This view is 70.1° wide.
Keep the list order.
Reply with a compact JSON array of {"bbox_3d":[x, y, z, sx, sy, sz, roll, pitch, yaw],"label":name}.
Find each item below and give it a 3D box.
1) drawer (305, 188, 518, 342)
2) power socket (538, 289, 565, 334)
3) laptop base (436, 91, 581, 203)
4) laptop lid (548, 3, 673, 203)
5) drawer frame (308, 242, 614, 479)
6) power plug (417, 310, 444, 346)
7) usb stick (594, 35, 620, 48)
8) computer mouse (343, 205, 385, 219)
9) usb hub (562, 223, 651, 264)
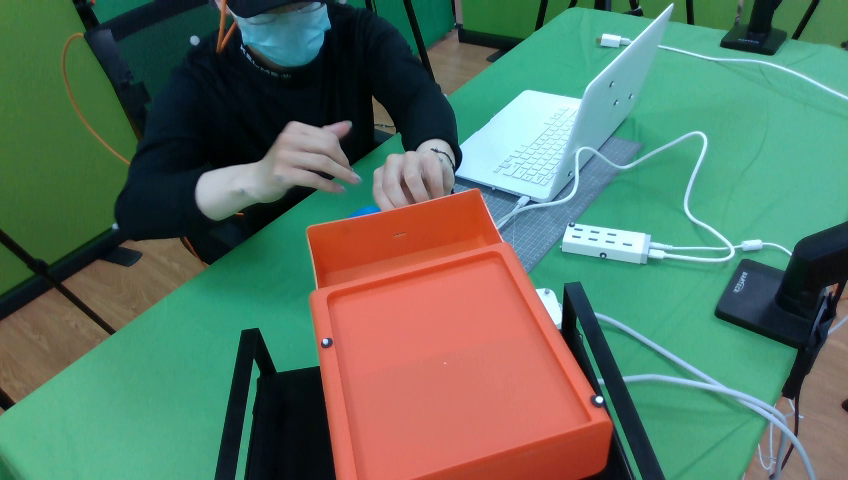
[{"bbox_3d":[-0.006,0.053,0.591,0.195,0.073,0.210,-12,41,-6],"label":"drawer"},{"bbox_3d":[0.081,0.111,0.822,0.227,0.033,0.072,-6,41,0],"label":"power socket"},{"bbox_3d":[0.215,-0.193,1.172,0.233,0.023,0.355,19,46,32],"label":"laptop base"},{"bbox_3d":[0.320,-0.235,1.026,0.013,0.242,0.357,31,50,20],"label":"laptop lid"},{"bbox_3d":[0.018,0.113,0.514,0.202,0.083,0.212,-14,41,-8],"label":"drawer frame"},{"bbox_3d":[0.006,0.123,0.785,0.035,0.053,0.072,1,39,8],"label":"power plug"},{"bbox_3d":[0.443,-0.482,1.466,0.059,0.021,0.027,10,43,10],"label":"usb stick"},{"bbox_3d":[-0.108,-0.016,0.993,0.117,0.041,0.062,-36,51,-21],"label":"computer mouse"},{"bbox_3d":[0.279,0.004,0.926,0.124,0.025,0.049,10,43,19],"label":"usb hub"}]
